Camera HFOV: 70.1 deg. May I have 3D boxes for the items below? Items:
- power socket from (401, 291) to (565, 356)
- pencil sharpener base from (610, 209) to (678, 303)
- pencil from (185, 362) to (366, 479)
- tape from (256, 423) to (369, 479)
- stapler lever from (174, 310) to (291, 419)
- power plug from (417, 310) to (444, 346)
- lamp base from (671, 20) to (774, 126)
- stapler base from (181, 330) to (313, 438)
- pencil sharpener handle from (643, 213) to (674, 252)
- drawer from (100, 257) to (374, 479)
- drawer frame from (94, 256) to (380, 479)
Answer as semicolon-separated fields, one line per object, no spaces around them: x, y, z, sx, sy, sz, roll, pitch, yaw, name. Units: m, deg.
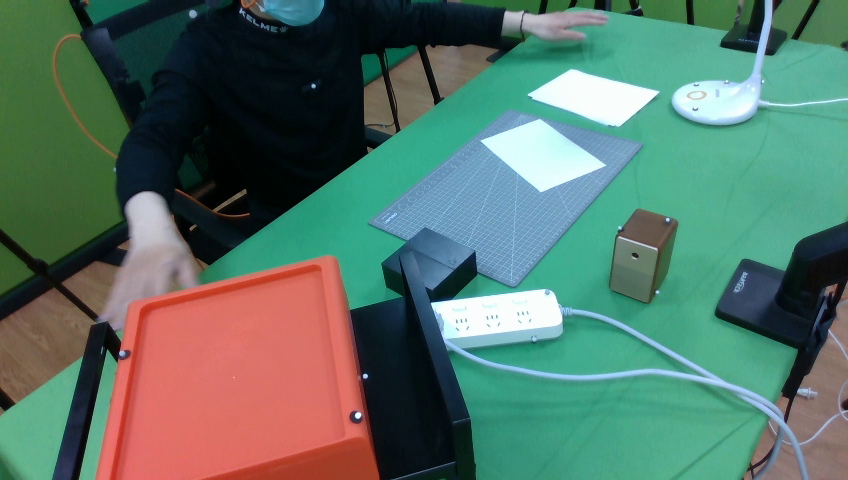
0.080;0.112;0.822;0.227;0.033;0.072;-6;41;0;power socket
0.304;0.021;0.839;0.061;0.107;0.077;21;48;30;pencil sharpener base
-0.127;0.159;0.520;0.195;0.012;0.012;-32;46;-29;pencil
-0.121;0.263;0.660;0.117;0.053;0.116;-4;40;4;tape
-0.173;0.109;0.546;0.118;0.040;0.026;-36;43;-20;stapler lever
0.006;0.122;0.785;0.035;0.053;0.072;-1;40;8;power plug
0.581;-0.332;1.154;0.179;0.181;0.160;2;41;7;lamp base
-0.167;0.126;0.564;0.131;0.024;0.041;-36;43;-20;stapler base
0.337;-0.016;0.857;0.035;0.068;0.031;1;35;44;pencil sharpener handle
-0.158;0.125;0.526;0.195;0.073;0.210;-13;41;-7;drawer
-0.155;0.125;0.525;0.202;0.083;0.212;-13;41;-8;drawer frame
